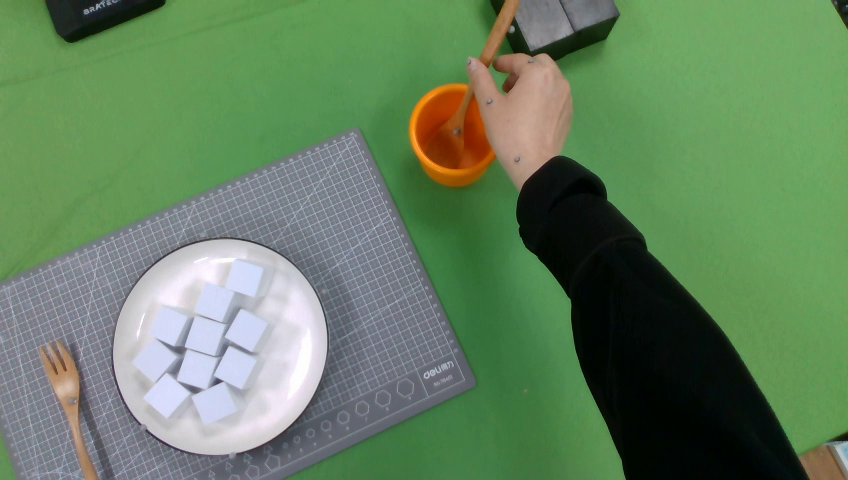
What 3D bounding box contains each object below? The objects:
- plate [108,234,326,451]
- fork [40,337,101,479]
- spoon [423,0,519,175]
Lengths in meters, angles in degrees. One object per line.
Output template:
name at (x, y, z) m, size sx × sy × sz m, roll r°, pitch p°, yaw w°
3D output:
plate at (-0.198, 0.099, 0.597) m, size 0.208 × 0.039 × 0.207 m, roll 0°, pitch 82°, yaw 0°
fork at (-0.334, 0.193, 0.593) m, size 0.028 × 0.019 × 0.206 m, roll -22°, pitch 80°, yaw -8°
spoon at (0.046, -0.143, 0.579) m, size 0.041 × 0.195 × 0.021 m, roll 35°, pitch 40°, yaw 11°
